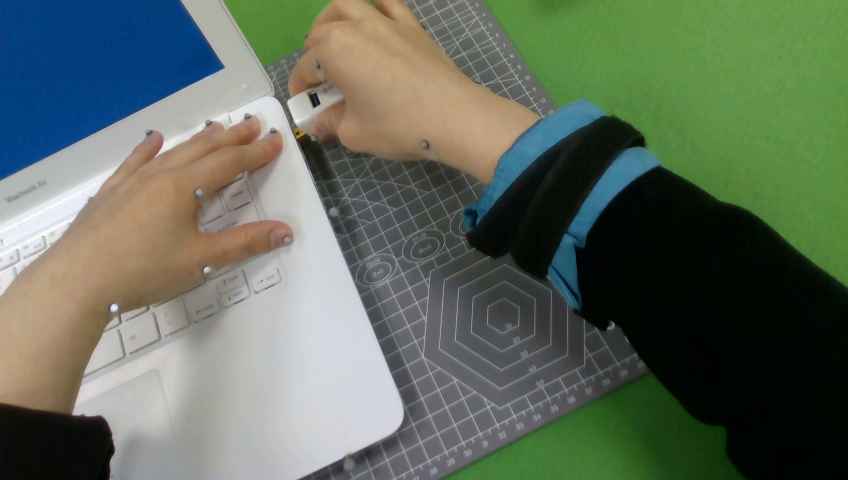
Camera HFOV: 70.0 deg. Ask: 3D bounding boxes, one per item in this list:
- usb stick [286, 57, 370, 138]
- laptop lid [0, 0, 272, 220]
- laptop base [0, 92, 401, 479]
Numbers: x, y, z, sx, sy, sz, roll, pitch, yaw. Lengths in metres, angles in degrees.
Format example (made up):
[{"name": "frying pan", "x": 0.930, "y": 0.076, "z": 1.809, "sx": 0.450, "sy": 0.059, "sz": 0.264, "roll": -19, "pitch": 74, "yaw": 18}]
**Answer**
[{"name": "usb stick", "x": -0.065, "y": -0.085, "z": 0.377, "sx": 0.059, "sy": 0.027, "sz": 0.021, "roll": -32, "pitch": 61, "yaw": 16}, {"name": "laptop lid", "x": -0.296, "y": -0.103, "z": 0.333, "sx": 0.357, "sy": 0.244, "sz": 0.013, "roll": -27, "pitch": 42, "yaw": 2}, {"name": "laptop base", "x": -0.210, "y": 0.073, "z": 0.368, "sx": 0.354, "sy": 0.023, "sz": 0.233, "roll": -26, "pitch": 70, "yaw": 2}]
